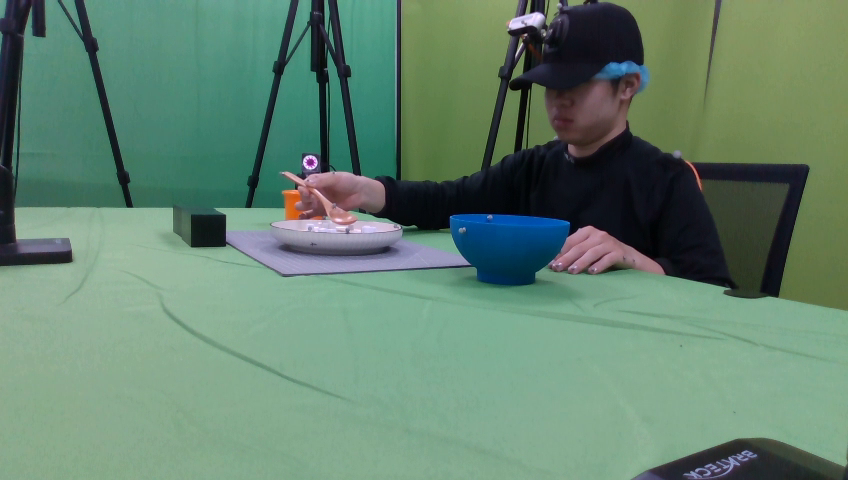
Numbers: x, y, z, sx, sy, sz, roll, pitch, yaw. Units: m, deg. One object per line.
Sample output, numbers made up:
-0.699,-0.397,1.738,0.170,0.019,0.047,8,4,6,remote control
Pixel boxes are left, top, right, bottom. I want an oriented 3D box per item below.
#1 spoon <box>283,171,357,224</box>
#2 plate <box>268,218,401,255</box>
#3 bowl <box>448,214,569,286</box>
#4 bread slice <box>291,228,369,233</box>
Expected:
-0.179,-0.075,1.014,0.042,0.021,0.193,-21,48,-39,spoon
-0.140,-0.006,0.958,0.209,0.038,0.209,3,7,0,plate
0.103,0.012,0.757,0.151,0.077,0.151,2,7,0,bowl
-0.143,-0.004,0.953,0.135,0.018,0.106,-2,9,-37,bread slice
